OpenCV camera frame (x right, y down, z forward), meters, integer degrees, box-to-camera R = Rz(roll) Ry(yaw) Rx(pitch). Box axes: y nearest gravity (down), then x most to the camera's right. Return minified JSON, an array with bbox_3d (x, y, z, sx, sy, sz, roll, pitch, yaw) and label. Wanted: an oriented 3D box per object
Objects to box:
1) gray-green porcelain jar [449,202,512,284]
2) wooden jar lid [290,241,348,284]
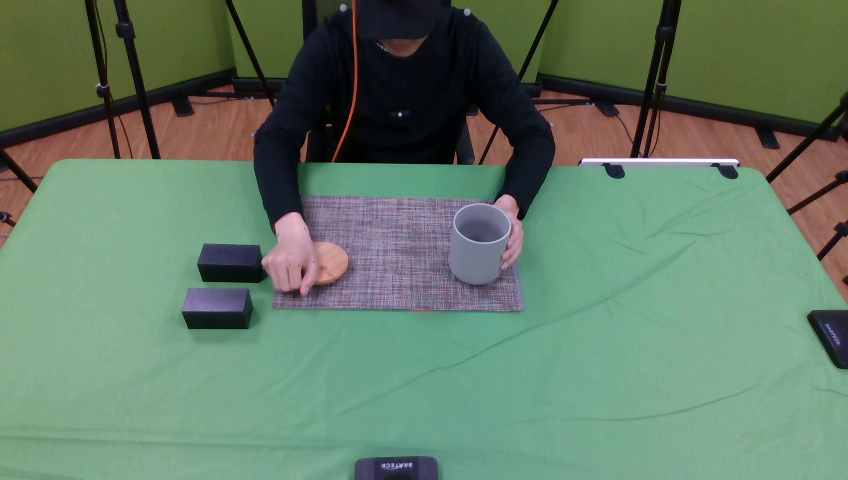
[{"bbox_3d":[0.101,0.010,1.116,0.106,0.127,0.105,2,47,-1],"label":"gray-green porcelain jar"},{"bbox_3d":[-0.195,0.044,1.130,0.108,0.021,0.107,3,40,-2],"label":"wooden jar lid"}]
